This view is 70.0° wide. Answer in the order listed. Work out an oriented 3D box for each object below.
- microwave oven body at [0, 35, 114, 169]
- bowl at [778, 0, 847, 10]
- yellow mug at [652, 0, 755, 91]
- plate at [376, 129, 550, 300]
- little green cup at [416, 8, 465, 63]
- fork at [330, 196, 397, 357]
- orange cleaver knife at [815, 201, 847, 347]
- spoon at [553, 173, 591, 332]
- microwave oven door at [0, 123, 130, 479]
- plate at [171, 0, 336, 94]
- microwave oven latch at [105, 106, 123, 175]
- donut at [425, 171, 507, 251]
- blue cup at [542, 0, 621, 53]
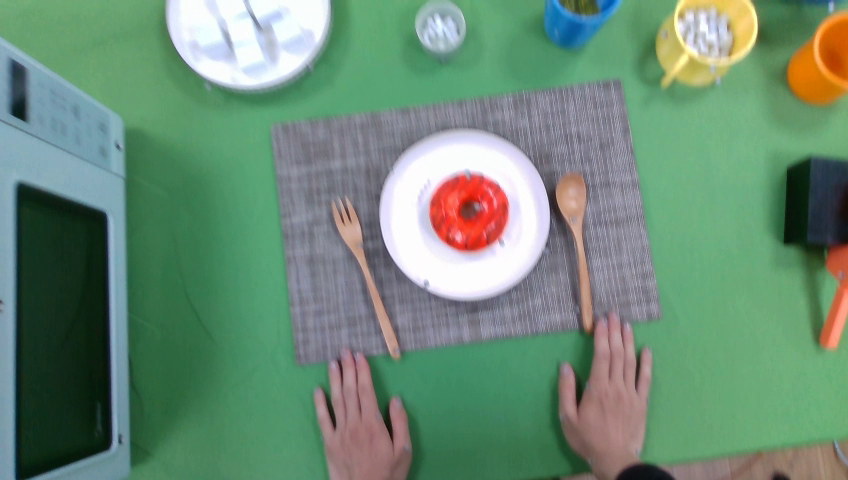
[{"bbox_3d":[-0.525,0.052,0.626,0.326,0.261,0.440,-4,83,0],"label":"microwave oven body"},{"bbox_3d":[0.480,-0.347,0.754,0.151,0.077,0.151,0,84,2],"label":"bowl"},{"bbox_3d":[0.333,-0.236,0.749,0.100,0.064,0.131,41,86,6],"label":"yellow mug"},{"bbox_3d":[0.046,-0.030,0.739,0.209,0.038,0.208,0,83,1],"label":"plate"},{"bbox_3d":[0.021,-0.257,0.771,0.061,0.039,0.061,0,82,1],"label":"little green cup"},{"bbox_3d":[-0.072,0.045,0.740,0.028,0.018,0.206,-19,82,-18],"label":"fork"},{"bbox_3d":[0.490,0.022,0.706,0.012,0.077,0.212,8,112,4],"label":"orange cleaver knife"},{"bbox_3d":[0.186,0.015,0.739,0.042,0.021,0.193,-3,82,-24],"label":"spoon"},{"bbox_3d":[-0.377,0.083,0.614,0.039,0.244,0.354,-4,83,1],"label":"microwave oven door"},{"bbox_3d":[-0.215,-0.284,0.777,0.208,0.039,0.207,0,83,1],"label":"plate"},{"bbox_3d":[-0.387,-0.121,0.741,0.030,0.029,0.079,-3,84,0],"label":"microwave oven latch"},{"bbox_3d":[0.051,-0.034,0.728,0.099,0.048,0.099,0,84,3],"label":"donut"},{"bbox_3d":[0.183,-0.277,0.739,0.092,0.100,0.092,0,84,0],"label":"blue cup"}]
